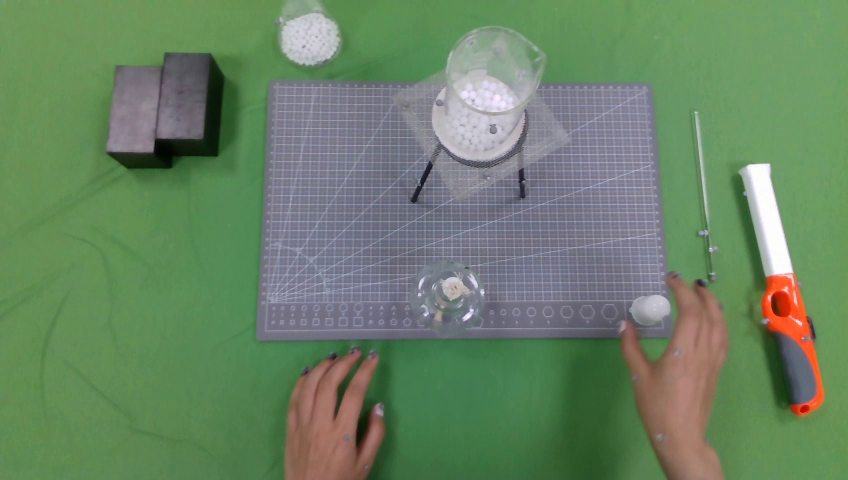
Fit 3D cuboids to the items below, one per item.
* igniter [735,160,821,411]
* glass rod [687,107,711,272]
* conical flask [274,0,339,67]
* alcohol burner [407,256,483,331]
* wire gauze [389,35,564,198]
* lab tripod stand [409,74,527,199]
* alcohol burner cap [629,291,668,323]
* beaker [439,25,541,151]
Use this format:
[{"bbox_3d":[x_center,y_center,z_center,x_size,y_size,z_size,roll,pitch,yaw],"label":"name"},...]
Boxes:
[{"bbox_3d":[0.389,0.045,0.668,0.057,0.025,0.275,-4,79,-14],"label":"igniter"},{"bbox_3d":[0.317,-0.061,0.697,0.008,0.008,0.199,-1,78,-2],"label":"glass rod"},{"bbox_3d":[-0.136,-0.250,0.660,0.075,0.122,0.075,0,78,-2],"label":"conical flask"},{"bbox_3d":[0.023,0.051,0.607,0.078,0.119,0.077,1,77,-3],"label":"alcohol burner"},{"bbox_3d":[0.050,-0.115,0.564,0.125,0.011,0.121,-29,84,-9],"label":"wire gauze"},{"bbox_3d":[0.047,-0.098,0.628,0.148,0.132,0.148,0,80,-2],"label":"lab tripod stand"},{"bbox_3d":[0.242,0.070,0.647,0.034,0.048,0.033,0,78,-1],"label":"alcohol burner cap"},{"bbox_3d":[0.052,-0.125,0.517,0.084,0.100,0.073,-21,81,-6],"label":"beaker"}]
